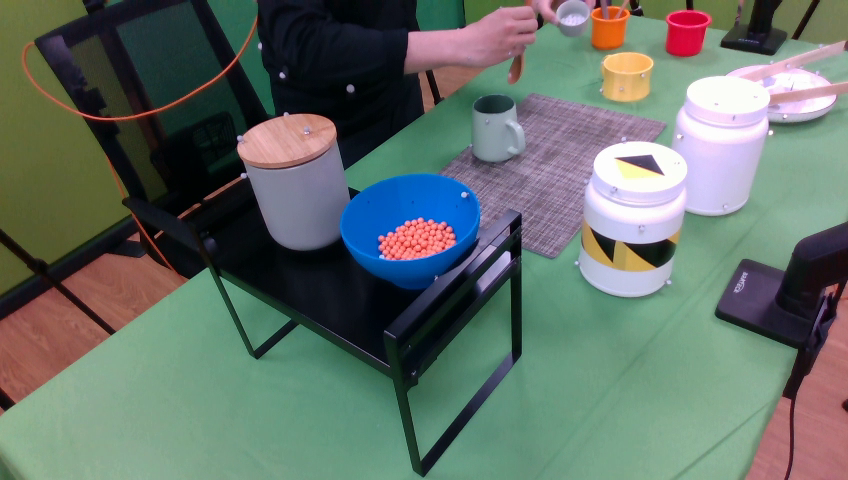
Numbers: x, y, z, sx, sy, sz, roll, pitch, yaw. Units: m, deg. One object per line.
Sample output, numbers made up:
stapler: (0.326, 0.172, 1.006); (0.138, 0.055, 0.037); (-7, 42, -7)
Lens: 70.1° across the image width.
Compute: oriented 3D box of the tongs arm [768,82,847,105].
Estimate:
tongs arm: (0.738, -0.282, 1.133); (0.388, 0.028, 0.028); (-9, 46, -5)

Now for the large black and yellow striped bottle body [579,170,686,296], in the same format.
large black and yellow striped bottle body: (0.287, -0.027, 0.842); (0.131, 0.185, 0.130); (-4, 41, 4)

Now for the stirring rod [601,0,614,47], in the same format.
stirring rod: (0.439, -0.552, 1.463); (0.014, 0.006, 0.175); (-7, 83, 3)

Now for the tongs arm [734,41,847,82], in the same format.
tongs arm: (0.712, -0.332, 1.194); (0.386, 0.026, 0.050); (-18, 44, -16)

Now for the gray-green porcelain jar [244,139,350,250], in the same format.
gray-green porcelain jar: (-0.144, -0.060, 0.714); (0.106, 0.127, 0.105); (-4, 41, 4)

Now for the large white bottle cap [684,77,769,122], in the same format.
large white bottle cap: (0.448, -0.209, 0.898); (0.115, 0.018, 0.114); (-4, 40, 4)

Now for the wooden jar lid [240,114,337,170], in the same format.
wooden jar lid: (-0.149, -0.106, 0.673); (0.108, 0.021, 0.108); (-6, 38, 5)

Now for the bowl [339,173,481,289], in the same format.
bowl: (-0.011, 0.001, 0.660); (0.151, 0.077, 0.150); (-5, 41, 5)

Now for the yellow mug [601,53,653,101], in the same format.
yellow mug: (0.423, -0.354, 1.292); (0.100, 0.064, 0.129); (-23, 42, -16)

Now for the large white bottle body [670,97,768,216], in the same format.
large white bottle body: (0.458, -0.146, 0.952); (0.130, 0.185, 0.130); (-4, 40, 4)

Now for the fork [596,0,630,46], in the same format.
fork: (0.481, -0.556, 1.452); (0.028, 0.019, 0.207); (40, 103, 38)

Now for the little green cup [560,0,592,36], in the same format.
little green cup: (0.292, -0.425, 1.165); (0.061, 0.039, 0.061); (-4, 66, 10)

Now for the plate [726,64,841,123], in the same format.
plate: (0.695, -0.282, 1.189); (0.207, 0.039, 0.206); (-4, 40, 4)

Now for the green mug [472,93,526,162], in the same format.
green mug: (0.144, -0.202, 1.122); (0.093, 0.105, 0.124); (-29, 45, -23)

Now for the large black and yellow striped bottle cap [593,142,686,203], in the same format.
large black and yellow striped bottle cap: (0.280, -0.090, 0.786); (0.115, 0.019, 0.114); (-5, 41, 5)

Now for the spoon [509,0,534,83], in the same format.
spoon: (0.167, -0.349, 1.008); (0.022, 0.194, 0.041); (-6, 49, -9)
